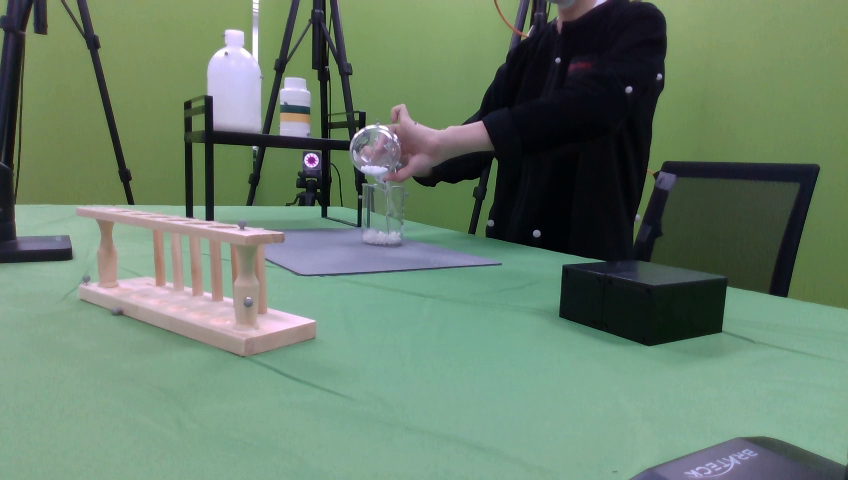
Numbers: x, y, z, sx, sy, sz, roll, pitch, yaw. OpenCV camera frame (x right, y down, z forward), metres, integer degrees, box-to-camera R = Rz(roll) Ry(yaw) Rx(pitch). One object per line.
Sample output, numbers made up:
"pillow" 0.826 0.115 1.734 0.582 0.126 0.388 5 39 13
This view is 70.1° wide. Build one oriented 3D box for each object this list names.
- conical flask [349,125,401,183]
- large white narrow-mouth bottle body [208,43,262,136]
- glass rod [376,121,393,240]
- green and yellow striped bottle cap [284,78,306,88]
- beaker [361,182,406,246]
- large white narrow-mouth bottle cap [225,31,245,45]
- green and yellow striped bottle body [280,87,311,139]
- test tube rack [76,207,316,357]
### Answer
"conical flask" -0.066 -0.120 0.915 0.075 0.075 0.122 3 -10 4
"large white narrow-mouth bottle body" -0.368 -0.304 1.181 0.102 0.194 0.101 2 9 0
"glass rod" -0.066 -0.098 0.998 0.008 0.199 0.008 -6 -4 0
"green and yellow striped bottle cap" -0.268 -0.325 1.259 0.045 0.020 0.045 5 7 0
"beaker" -0.067 -0.042 0.993 0.074 0.100 0.084 1 8 -8
"large white narrow-mouth bottle cap" -0.365 -0.388 1.166 0.038 0.024 0.037 2 9 0
"green and yellow striped bottle body" -0.269 -0.274 1.266 0.063 0.119 0.063 3 7 0
"test tube rack" -0.196 0.023 0.500 0.241 0.085 0.067 8 9 36
